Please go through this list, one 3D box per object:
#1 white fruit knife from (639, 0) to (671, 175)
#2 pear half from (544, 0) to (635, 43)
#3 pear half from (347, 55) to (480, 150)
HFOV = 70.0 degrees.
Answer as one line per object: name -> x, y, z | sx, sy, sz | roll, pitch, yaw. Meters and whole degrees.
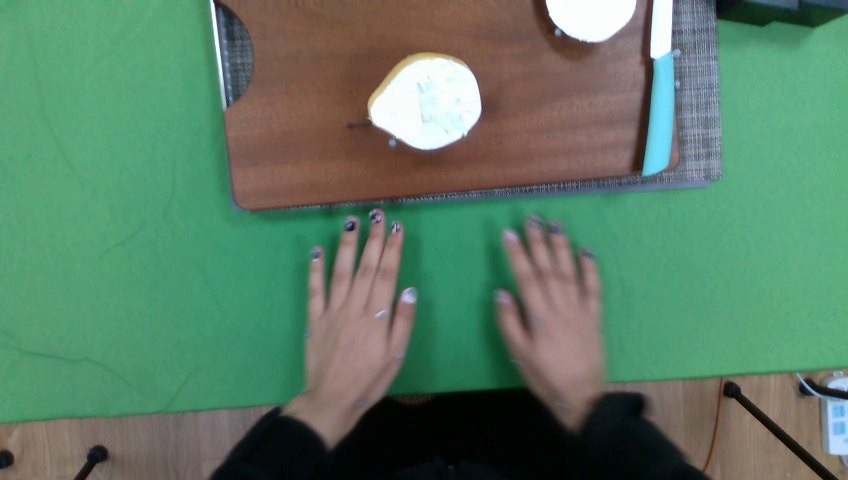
white fruit knife -> 0.209, -0.160, 0.538 | 0.027, 0.016, 0.207 | 3, 91, -19
pear half -> 0.139, -0.210, 0.522 | 0.070, 0.031, 0.087 | -43, 82, 15
pear half -> -0.013, -0.113, 0.507 | 0.110, 0.055, 0.077 | -13, 112, -5
